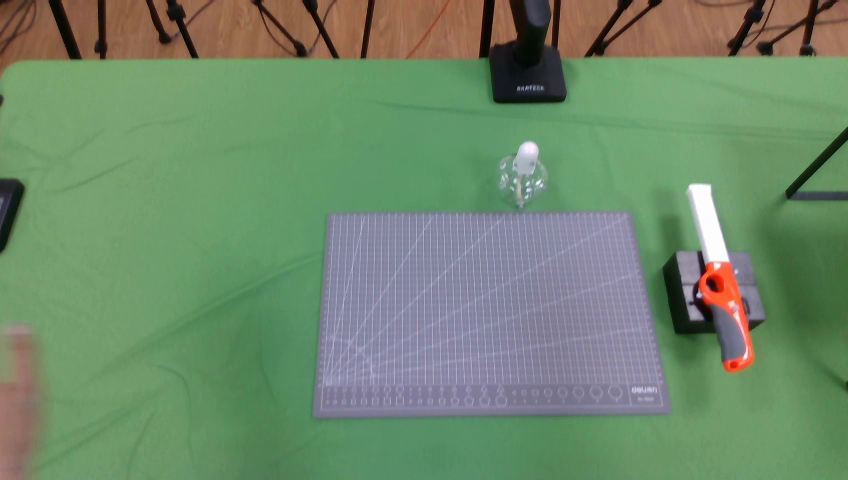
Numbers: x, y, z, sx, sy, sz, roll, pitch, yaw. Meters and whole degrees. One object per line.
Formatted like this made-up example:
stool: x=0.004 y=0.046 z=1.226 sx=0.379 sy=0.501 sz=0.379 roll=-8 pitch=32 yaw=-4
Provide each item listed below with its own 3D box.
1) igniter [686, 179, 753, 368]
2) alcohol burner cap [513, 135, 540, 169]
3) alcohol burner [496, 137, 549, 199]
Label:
igniter: x=0.385 y=0.036 z=0.796 sx=0.057 sy=0.025 sz=0.274 roll=3 pitch=59 yaw=0
alcohol burner cap: x=0.144 y=-0.125 z=0.840 sx=0.034 sy=0.048 sz=0.033 roll=2 pitch=62 yaw=-3
alcohol burner: x=0.144 y=-0.111 z=0.867 sx=0.078 sy=0.120 sz=0.077 roll=2 pitch=63 yaw=-3
